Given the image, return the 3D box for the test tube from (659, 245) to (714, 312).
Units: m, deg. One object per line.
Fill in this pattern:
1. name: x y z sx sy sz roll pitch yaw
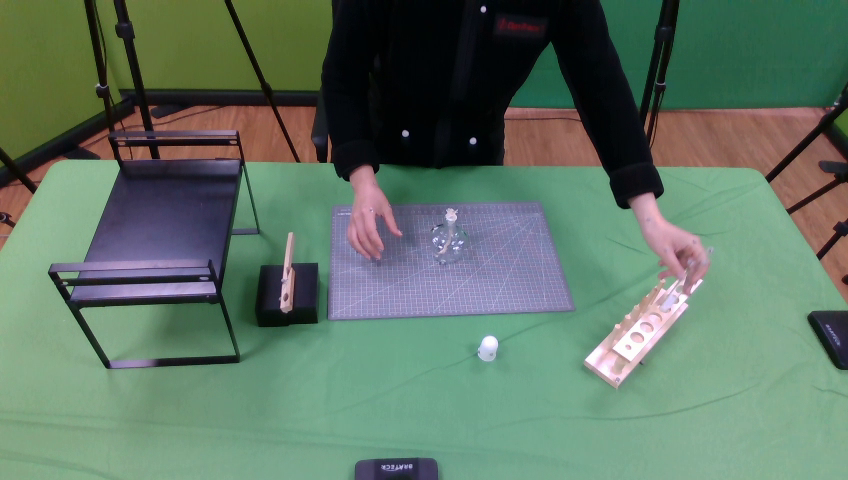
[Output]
1. test tube: 0.420 0.067 0.978 0.017 0.151 0.017 12 39 -10

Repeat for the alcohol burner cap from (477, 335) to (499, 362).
1. alcohol burner cap: 0.109 0.180 1.016 0.034 0.048 0.033 3 51 -4

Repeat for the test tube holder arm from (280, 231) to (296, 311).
1. test tube holder arm: -0.238 0.051 1.065 0.013 0.015 0.177 -13 46 6

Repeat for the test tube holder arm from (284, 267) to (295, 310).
1. test tube holder arm: -0.229 0.081 1.034 0.010 0.015 0.087 -13 45 6

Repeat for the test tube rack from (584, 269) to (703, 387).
1. test tube rack: 0.381 0.139 1.045 0.066 0.085 0.242 37 54 28

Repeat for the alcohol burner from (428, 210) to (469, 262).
1. alcohol burner: 0.048 -0.014 1.145 0.078 0.119 0.077 3 48 -3
